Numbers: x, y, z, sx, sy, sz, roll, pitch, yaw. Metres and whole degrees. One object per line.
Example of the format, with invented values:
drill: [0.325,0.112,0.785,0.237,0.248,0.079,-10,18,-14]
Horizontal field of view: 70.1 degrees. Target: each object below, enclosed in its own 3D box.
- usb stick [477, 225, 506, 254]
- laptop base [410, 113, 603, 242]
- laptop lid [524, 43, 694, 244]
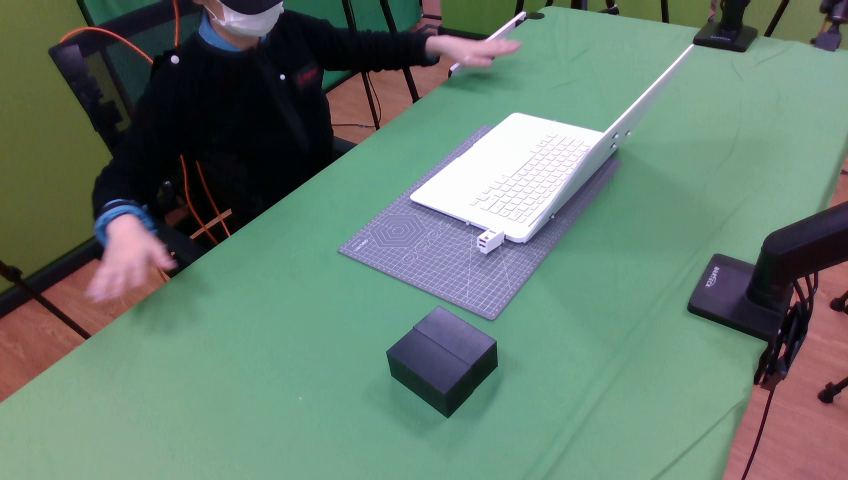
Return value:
usb stick: [0.107,-0.004,0.933,0.021,0.027,0.059,25,38,35]
laptop base: [0.171,-0.127,1.096,0.233,0.023,0.355,21,47,34]
laptop lid: [0.290,-0.151,0.941,0.013,0.241,0.358,40,54,12]
